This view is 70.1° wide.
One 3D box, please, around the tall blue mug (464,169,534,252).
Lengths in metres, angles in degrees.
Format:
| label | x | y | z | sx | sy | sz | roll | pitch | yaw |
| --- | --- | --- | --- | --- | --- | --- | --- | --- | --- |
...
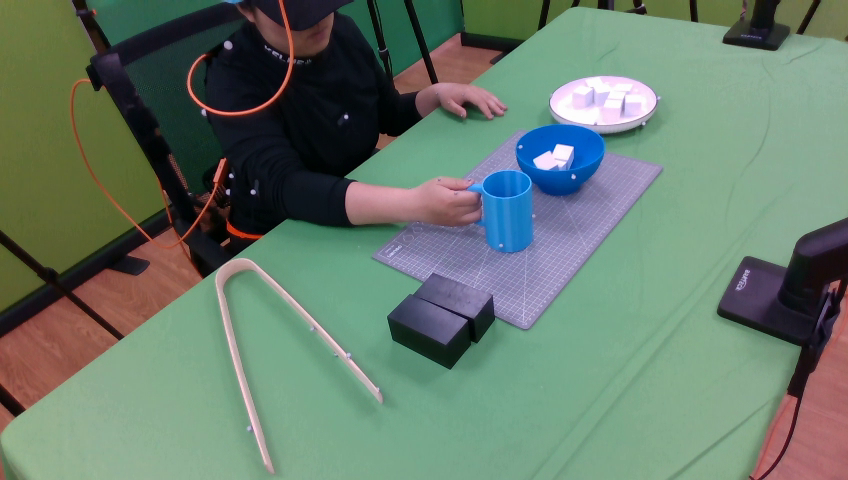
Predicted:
| label | x | y | z | sx | sy | sz | roll | pitch | yaw |
| --- | --- | --- | --- | --- | --- | --- | --- | --- | --- |
| tall blue mug | 0.116 | -0.044 | 0.940 | 0.107 | 0.108 | 0.077 | -5 | 40 | 5 |

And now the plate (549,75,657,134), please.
| label | x | y | z | sx | sy | sz | roll | pitch | yaw |
| --- | --- | --- | --- | --- | --- | --- | --- | --- | --- |
| plate | 0.357 | -0.269 | 1.220 | 0.209 | 0.038 | 0.208 | -5 | 41 | 5 |

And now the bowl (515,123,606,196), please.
| label | x | y | z | sx | sy | sz | roll | pitch | yaw |
| --- | --- | --- | --- | --- | --- | --- | --- | --- | --- |
| bowl | 0.234 | -0.130 | 1.044 | 0.151 | 0.077 | 0.150 | -5 | 40 | 5 |

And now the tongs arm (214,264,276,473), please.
| label | x | y | z | sx | sy | sz | roll | pitch | yaw |
| --- | --- | --- | --- | --- | --- | --- | --- | --- | --- |
| tongs arm | -0.252 | 0.158 | 0.837 | 0.028 | 0.028 | 0.384 | -27 | 43 | -8 |

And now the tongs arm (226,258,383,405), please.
| label | x | y | z | sx | sy | sz | roll | pitch | yaw |
| --- | --- | --- | --- | --- | --- | --- | --- | --- | --- |
| tongs arm | -0.185 | 0.121 | 0.863 | 0.051 | 0.027 | 0.381 | -34 | 45 | -20 |
